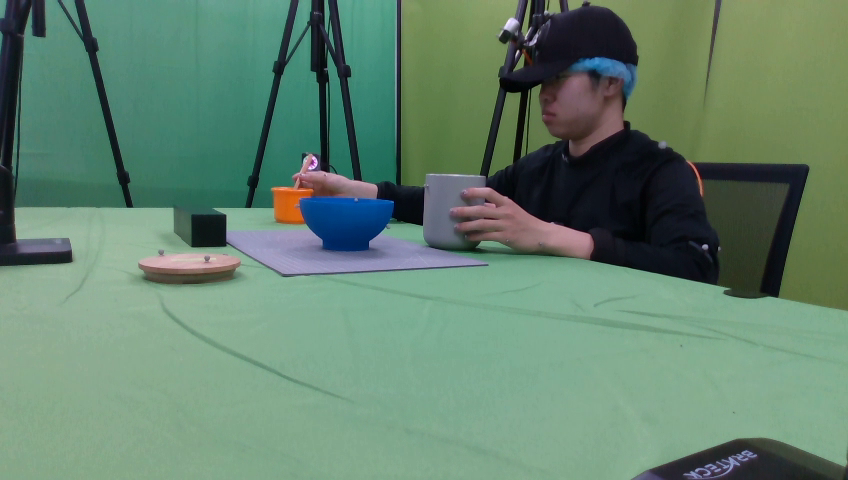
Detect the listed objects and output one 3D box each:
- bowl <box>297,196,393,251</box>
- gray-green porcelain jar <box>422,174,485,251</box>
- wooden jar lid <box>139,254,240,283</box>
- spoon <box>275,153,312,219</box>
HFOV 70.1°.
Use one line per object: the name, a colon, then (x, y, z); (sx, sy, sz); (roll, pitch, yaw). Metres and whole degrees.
bowl: (-0.125, -0.026, 0.958); (0.151, 0.077, 0.151); (2, 7, 0)
gray-green porcelain jar: (0.050, -0.049, 1.040); (0.106, 0.126, 0.106); (2, 8, 0)
wooden jar lid: (-0.269, 0.032, 0.698); (0.108, 0.020, 0.108); (2, 5, 0)
spoon: (-0.287, -0.124, 1.366); (0.041, 0.193, 0.021); (16, -29, 2)
